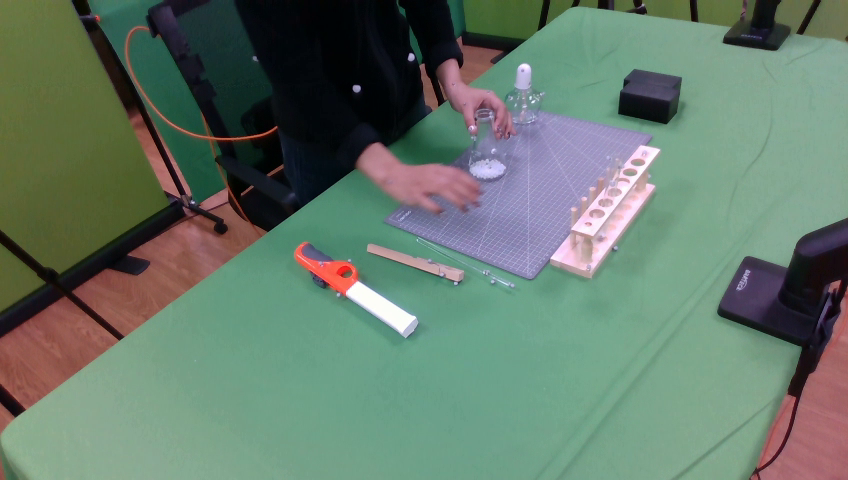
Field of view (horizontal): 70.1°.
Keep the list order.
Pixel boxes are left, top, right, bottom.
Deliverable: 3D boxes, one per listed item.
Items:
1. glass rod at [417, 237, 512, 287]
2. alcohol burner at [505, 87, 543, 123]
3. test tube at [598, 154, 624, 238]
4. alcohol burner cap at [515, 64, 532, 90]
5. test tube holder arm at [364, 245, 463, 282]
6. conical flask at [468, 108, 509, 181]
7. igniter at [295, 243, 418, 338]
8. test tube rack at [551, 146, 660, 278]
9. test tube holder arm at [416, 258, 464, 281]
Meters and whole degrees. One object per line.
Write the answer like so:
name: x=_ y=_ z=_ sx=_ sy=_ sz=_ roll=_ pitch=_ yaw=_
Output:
glass rod: x=0.059 y=0.032 z=0.945 sx=0.198 sy=0.008 sz=0.008 roll=26 pitch=52 yaw=38
alcohol burner: x=0.202 y=-0.298 z=1.222 sx=0.078 sy=0.119 sz=0.077 roll=-4 pitch=40 yaw=4
test tube: x=0.269 y=-0.059 z=0.876 sx=0.017 sy=0.151 sz=0.017 roll=-2 pitch=44 yaw=3
alcohol burner cap: x=0.199 y=-0.325 z=1.198 sx=0.034 sy=0.048 sz=0.033 roll=0 pitch=46 yaw=1
test tube holder arm: x=-0.020 y=0.035 z=0.946 sx=0.177 sy=0.015 sz=0.013 roll=16 pitch=9 yaw=26
conical flask: x=0.112 y=-0.174 z=1.086 sx=0.075 sy=0.122 sz=0.075 roll=-6 pitch=40 yaw=5
igniter: x=-0.113 y=0.069 z=0.919 sx=0.274 sy=0.025 sz=0.057 roll=29 pitch=63 yaw=37
test tube rack: x=0.286 y=-0.053 z=0.943 sx=0.066 sy=0.085 sz=0.243 roll=21 pitch=49 yaw=32
test tube holder arm: x=0.021 y=0.045 z=0.931 sx=0.087 sy=0.015 sz=0.010 roll=16 pitch=9 yaw=27
